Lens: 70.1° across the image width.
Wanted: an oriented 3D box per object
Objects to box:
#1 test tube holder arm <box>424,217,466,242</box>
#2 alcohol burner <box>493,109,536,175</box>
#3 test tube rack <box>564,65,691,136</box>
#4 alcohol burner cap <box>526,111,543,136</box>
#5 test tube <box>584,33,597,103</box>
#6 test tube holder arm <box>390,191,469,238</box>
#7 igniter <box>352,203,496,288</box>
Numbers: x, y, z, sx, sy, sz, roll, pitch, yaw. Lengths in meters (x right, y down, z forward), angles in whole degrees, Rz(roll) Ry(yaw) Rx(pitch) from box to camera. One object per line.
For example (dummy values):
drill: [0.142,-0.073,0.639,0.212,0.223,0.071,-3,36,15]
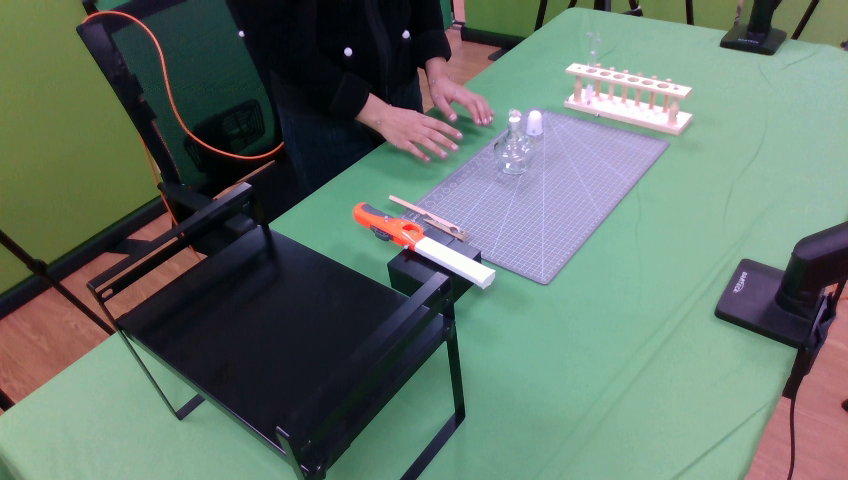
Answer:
test tube holder arm: [0.033,-0.020,0.992,0.087,0.015,0.010,32,84,36]
alcohol burner: [0.163,-0.179,1.087,0.078,0.119,0.077,-5,38,4]
test tube rack: [0.404,-0.288,1.204,0.240,0.085,0.067,24,49,32]
alcohol burner cap: [0.219,-0.232,1.196,0.034,0.048,0.033,-4,41,4]
test tube: [0.330,-0.338,1.199,0.017,0.151,0.017,-5,45,5]
test tube holder arm: [0.006,-0.044,1.019,0.177,0.015,0.013,32,84,36]
igniter: [-0.011,0.002,0.899,0.274,0.025,0.057,27,45,33]
